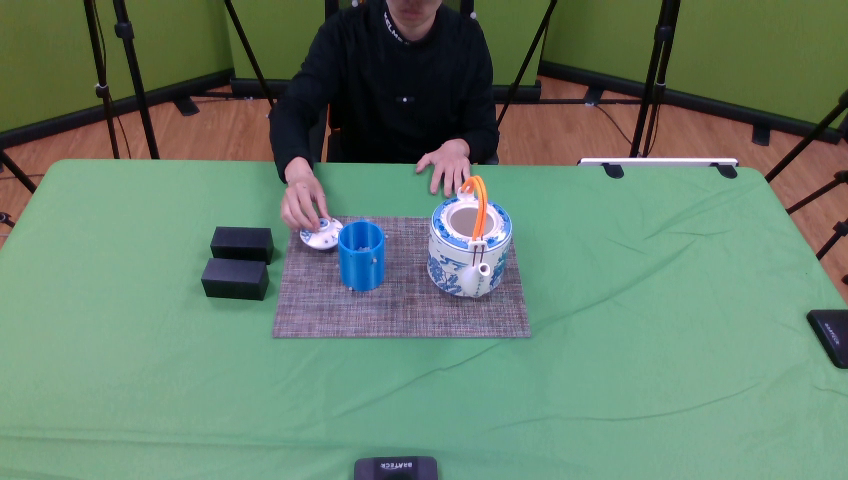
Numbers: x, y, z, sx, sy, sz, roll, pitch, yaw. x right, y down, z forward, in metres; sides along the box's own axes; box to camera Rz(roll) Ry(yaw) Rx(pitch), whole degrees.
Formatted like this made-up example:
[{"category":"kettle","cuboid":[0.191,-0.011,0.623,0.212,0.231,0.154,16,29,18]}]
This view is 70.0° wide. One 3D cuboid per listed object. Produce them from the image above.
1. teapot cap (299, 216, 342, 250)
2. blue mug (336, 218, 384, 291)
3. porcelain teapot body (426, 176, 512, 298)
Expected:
[{"category":"teapot cap","cuboid":[-0.198,-0.018,1.168,0.085,0.044,0.084,2,49,-2]},{"category":"blue mug","cuboid":[-0.115,0.018,1.110,0.082,0.106,0.116,1,46,-4]},{"category":"porcelain teapot body","cuboid":[0.085,0.009,1.051,0.145,0.226,0.204,-5,47,-9]}]
